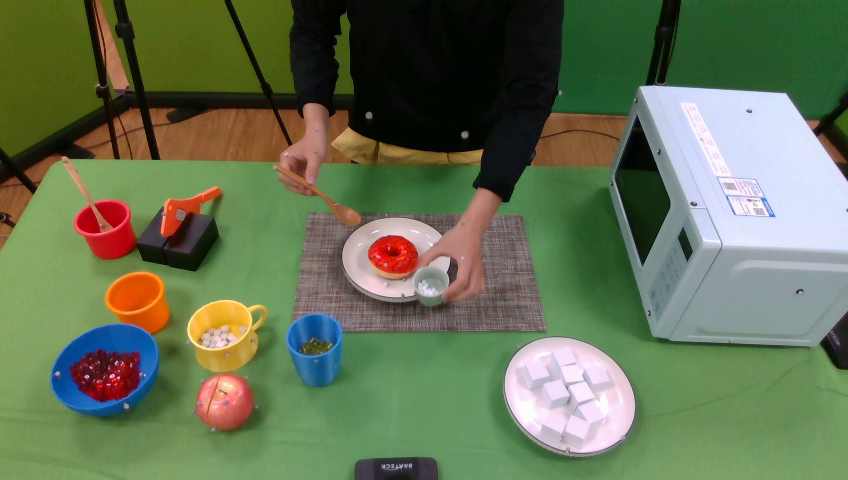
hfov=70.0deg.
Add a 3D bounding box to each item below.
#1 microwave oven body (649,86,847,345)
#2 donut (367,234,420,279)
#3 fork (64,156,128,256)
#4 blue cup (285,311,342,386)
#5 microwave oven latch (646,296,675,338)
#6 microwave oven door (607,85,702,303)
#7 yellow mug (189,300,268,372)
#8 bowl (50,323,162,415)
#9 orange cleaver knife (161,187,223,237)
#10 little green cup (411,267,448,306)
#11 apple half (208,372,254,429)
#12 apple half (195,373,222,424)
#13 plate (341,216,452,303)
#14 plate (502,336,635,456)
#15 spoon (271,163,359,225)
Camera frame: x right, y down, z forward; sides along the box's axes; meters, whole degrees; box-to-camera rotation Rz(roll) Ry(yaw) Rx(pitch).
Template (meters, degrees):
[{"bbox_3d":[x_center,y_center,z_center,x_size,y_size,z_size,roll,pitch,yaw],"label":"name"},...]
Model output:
[{"bbox_3d":[0.568,-0.053,1.118,0.326,0.261,0.439,2,45,-1],"label":"microwave oven body"},{"bbox_3d":[-0.056,0.031,1.132,0.099,0.048,0.098,3,46,-3],"label":"donut"},{"bbox_3d":[-0.614,-0.064,1.130,0.028,0.018,0.207,-30,97,-18],"label":"fork"},{"bbox_3d":[-0.170,0.179,0.958,0.093,0.101,0.092,2,44,-1],"label":"blue cup"},{"bbox_3d":[0.412,0.134,1.061,0.030,0.029,0.078,3,45,0],"label":"microwave oven latch"},{"bbox_3d":[0.423,-0.094,1.141,0.039,0.245,0.353,2,46,-1],"label":"microwave oven door"},{"bbox_3d":[-0.315,0.148,1.001,0.131,0.064,0.099,-33,55,-31],"label":"yellow mug"},{"bbox_3d":[-0.472,0.209,0.924,0.151,0.077,0.150,3,45,-2],"label":"bowl"},{"bbox_3d":[-0.448,-0.058,1.180,0.012,0.077,0.211,13,17,6],"label":"orange cleaver knife"},{"bbox_3d":[0.011,0.079,1.008,0.061,0.039,0.061,-2,67,6],"label":"little green cup"},{"bbox_3d":[-0.283,0.244,0.908,0.053,0.075,0.080,7,42,-1],"label":"apple half"},{"bbox_3d":[-0.322,0.239,0.907,0.033,0.081,0.081,6,46,0],"label":"apple half"},{"bbox_3d":[-0.052,0.039,1.140,0.209,0.038,0.208,2,46,-2],"label":"plate"},{"bbox_3d":[0.225,0.248,0.963,0.208,0.039,0.206,2,46,-2],"label":"plate"},{"bbox_3d":[-0.190,-0.083,1.077,0.021,0.195,0.041,-27,42,30],"label":"spoon"}]
